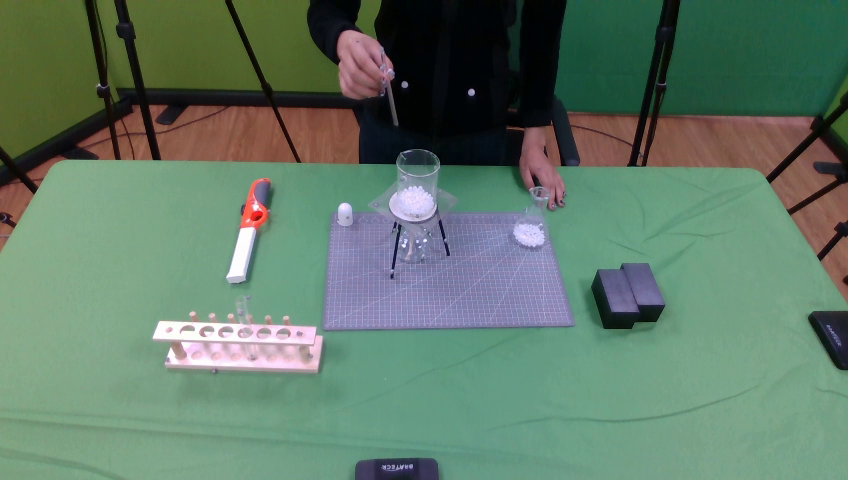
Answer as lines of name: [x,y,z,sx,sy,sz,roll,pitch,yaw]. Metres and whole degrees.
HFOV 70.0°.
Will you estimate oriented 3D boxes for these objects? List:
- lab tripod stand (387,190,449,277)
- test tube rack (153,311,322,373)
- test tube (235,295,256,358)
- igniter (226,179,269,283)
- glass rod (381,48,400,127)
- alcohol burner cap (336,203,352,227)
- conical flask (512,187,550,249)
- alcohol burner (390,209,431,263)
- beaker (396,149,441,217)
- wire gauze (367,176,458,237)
lab tripod stand: [-0.021,-0.018,1.135,0.148,0.132,0.147,3,44,-3]
test tube rack: [-0.293,0.160,0.978,0.242,0.085,0.066,3,46,-2]
test tube: [-0.274,0.136,0.933,0.017,0.151,0.017,4,46,-4]
igniter: [-0.345,-0.027,1.195,0.057,0.025,0.274,-6,46,5]
glass rod: [-0.051,-0.232,0.947,0.008,0.200,0.008,-1,68,4]
alcohol burner cap: [-0.162,-0.053,1.221,0.034,0.048,0.033,2,47,-2]
conical flask: [0.217,-0.048,1.190,0.075,0.122,0.075,2,46,-2]
alcohol burner: [-0.024,-0.014,1.144,0.078,0.119,0.077,4,45,-3]
beaker: [-0.015,-0.098,1.054,0.074,0.101,0.083,-32,55,-31]
wire gauze: [-0.020,-0.066,1.089,0.124,0.011,0.121,27,47,22]
